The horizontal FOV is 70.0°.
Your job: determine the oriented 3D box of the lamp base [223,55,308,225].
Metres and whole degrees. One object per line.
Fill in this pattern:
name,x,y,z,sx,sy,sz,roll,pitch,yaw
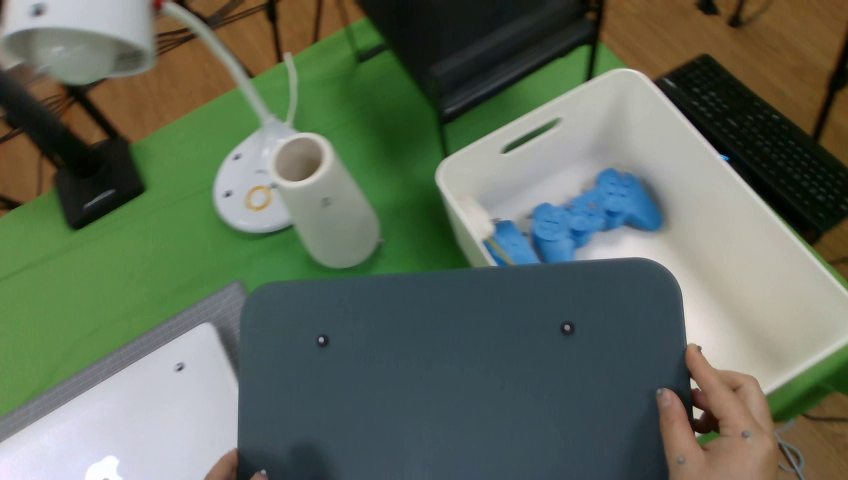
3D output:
lamp base,-0.217,-0.137,0.794,0.160,0.182,0.178,1,62,9

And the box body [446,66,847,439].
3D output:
box body,0.220,0.028,0.655,0.254,0.162,0.360,-29,64,-4

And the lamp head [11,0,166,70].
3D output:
lamp head,-0.273,-0.213,0.504,0.112,0.113,0.122,-3,82,8

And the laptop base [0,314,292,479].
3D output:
laptop base,-0.351,0.267,0.713,0.354,0.023,0.233,-30,67,-6

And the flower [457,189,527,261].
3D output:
flower,0.165,0.078,0.691,0.359,0.044,0.038,49,120,14

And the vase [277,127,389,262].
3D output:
vase,-0.107,-0.050,0.724,0.098,0.202,0.097,-4,64,9

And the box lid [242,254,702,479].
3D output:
box lid,0.019,0.151,0.484,0.370,0.015,0.262,-5,82,14

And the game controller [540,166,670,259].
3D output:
game controller,0.216,-0.030,0.743,0.155,0.052,0.096,-27,61,-6

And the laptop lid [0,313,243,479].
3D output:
laptop lid,-0.351,0.264,0.702,0.357,0.013,0.239,-29,66,-5

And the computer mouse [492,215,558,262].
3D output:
computer mouse,0.117,0.017,0.738,0.063,0.041,0.116,-31,55,-4
